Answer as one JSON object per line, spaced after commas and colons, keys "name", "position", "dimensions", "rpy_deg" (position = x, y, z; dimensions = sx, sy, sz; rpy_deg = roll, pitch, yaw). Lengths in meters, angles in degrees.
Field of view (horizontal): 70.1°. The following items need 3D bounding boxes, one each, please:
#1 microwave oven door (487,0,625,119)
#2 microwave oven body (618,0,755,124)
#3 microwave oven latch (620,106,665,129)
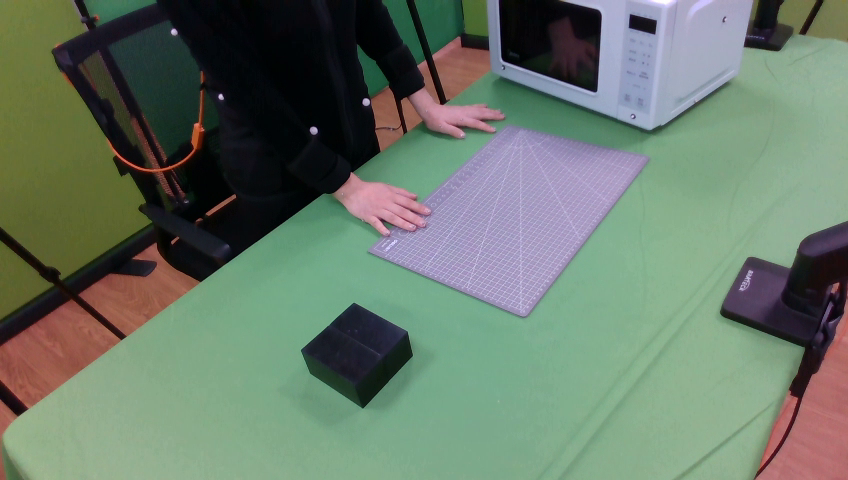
{"name": "microwave oven door", "position": [0.262, -0.409, 1.221], "dimensions": [0.039, 0.245, 0.352], "rpy_deg": [-33, 45, -25]}
{"name": "microwave oven body", "position": [0.402, -0.458, 1.259], "dimensions": [0.327, 0.261, 0.437], "rpy_deg": [-33, 45, -24]}
{"name": "microwave oven latch", "position": [0.412, -0.237, 1.146], "dimensions": [0.030, 0.029, 0.078], "rpy_deg": [-32, 44, -23]}
